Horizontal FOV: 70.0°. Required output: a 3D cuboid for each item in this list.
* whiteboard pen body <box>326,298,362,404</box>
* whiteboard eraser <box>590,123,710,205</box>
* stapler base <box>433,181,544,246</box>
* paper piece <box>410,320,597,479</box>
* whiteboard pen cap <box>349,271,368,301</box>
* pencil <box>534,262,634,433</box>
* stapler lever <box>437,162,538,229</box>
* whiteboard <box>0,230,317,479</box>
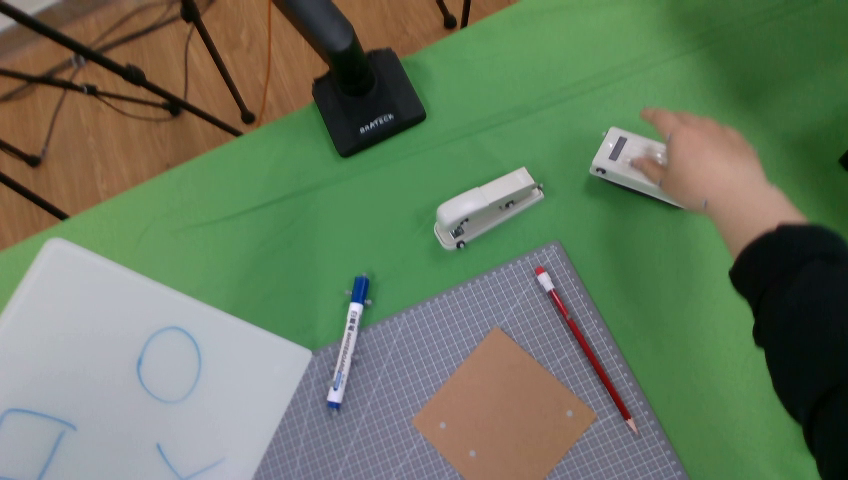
[{"bbox_3d":[-0.084,0.107,0.660,0.017,0.017,0.140,7,72,14],"label":"whiteboard pen body"},{"bbox_3d":[0.241,-0.081,0.651,0.112,0.042,0.055,25,79,18],"label":"whiteboard eraser"},{"bbox_3d":[0.071,-0.041,0.681,0.130,0.024,0.041,-30,71,-2],"label":"stapler base"},{"bbox_3d":[0.077,0.175,0.611,0.137,0.009,0.136,42,87,19],"label":"paper piece"},{"bbox_3d":[-0.073,0.053,0.676,0.018,0.018,0.033,5,72,13],"label":"whiteboard pen cap"},{"bbox_3d":[0.162,0.106,0.617,0.012,0.012,0.192,-27,71,1],"label":"pencil"},{"bbox_3d":[0.068,-0.050,0.658,0.118,0.040,0.026,-31,71,-1],"label":"stapler lever"},{"bbox_3d":[-0.289,0.137,0.569,0.142,0.309,0.216,16,74,37],"label":"whiteboard"}]
